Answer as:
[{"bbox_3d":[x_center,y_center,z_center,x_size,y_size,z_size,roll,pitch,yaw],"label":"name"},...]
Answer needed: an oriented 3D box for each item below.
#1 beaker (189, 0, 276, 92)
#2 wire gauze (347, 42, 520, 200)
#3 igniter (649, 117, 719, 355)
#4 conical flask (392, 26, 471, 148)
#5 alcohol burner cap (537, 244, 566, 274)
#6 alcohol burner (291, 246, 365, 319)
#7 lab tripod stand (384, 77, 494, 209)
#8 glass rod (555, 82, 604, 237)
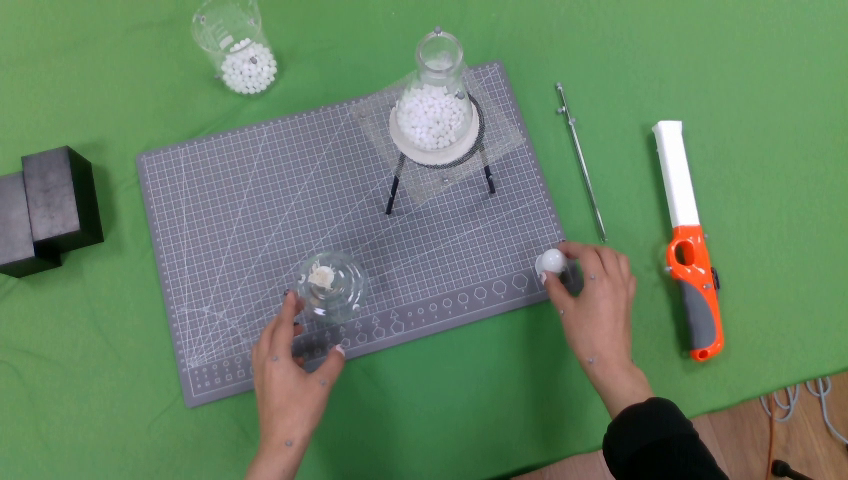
[{"bbox_3d":[-0.212,-0.223,0.691,0.074,0.100,0.084,32,77,6],"label":"beaker"},{"bbox_3d":[0.010,-0.115,0.581,0.125,0.011,0.121,-32,82,-10],"label":"wire gauze"},{"bbox_3d":[0.294,-0.010,0.687,0.057,0.025,0.275,-2,76,-12],"label":"igniter"},{"bbox_3d":[0.009,-0.134,0.525,0.075,0.122,0.075,0,78,-2],"label":"conical flask"},{"bbox_3d":[0.142,0.019,0.667,0.034,0.048,0.034,-1,83,8],"label":"alcohol burner cap"},{"bbox_3d":[-0.100,0.041,0.620,0.078,0.119,0.077,1,77,-3],"label":"alcohol burner"},{"bbox_3d":[0.010,-0.098,0.645,0.148,0.132,0.147,0,78,-1],"label":"lab tripod stand"},{"bbox_3d":[0.182,-0.098,0.716,0.008,0.008,0.198,-12,77,-4],"label":"glass rod"}]
